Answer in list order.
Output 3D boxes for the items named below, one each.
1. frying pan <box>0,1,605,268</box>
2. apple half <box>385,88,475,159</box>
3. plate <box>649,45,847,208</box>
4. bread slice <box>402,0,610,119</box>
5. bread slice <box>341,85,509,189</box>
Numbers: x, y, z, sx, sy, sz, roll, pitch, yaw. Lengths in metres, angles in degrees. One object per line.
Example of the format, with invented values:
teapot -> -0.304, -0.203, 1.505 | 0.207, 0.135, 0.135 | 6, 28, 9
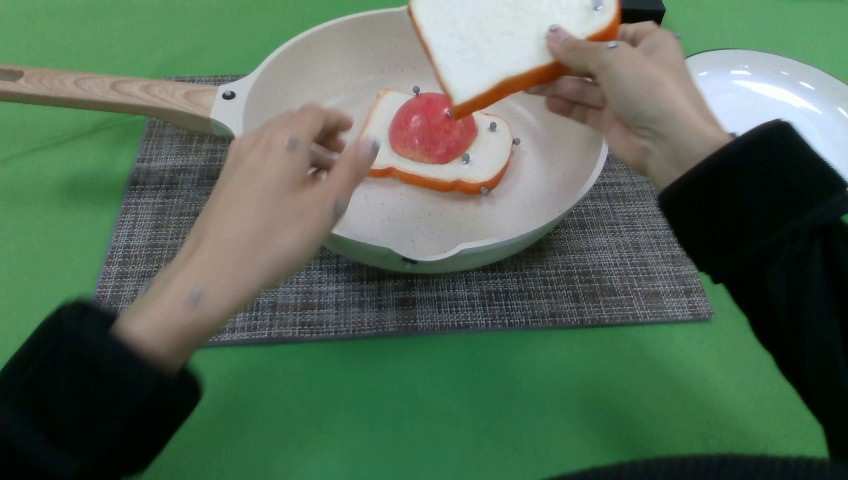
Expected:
frying pan -> -0.106, -0.103, 0.488 | 0.489, 0.103, 0.303 | 7, 50, -8
apple half -> 0.004, -0.105, 0.515 | 0.081, 0.033, 0.080 | 0, 50, 0
plate -> 0.309, -0.104, 0.559 | 0.208, 0.039, 0.205 | 2, 52, -2
bread slice -> 0.057, -0.153, 0.415 | 0.131, 0.019, 0.104 | -25, 66, 6
bread slice -> 0.007, -0.090, 0.533 | 0.134, 0.018, 0.106 | 10, 53, 5
